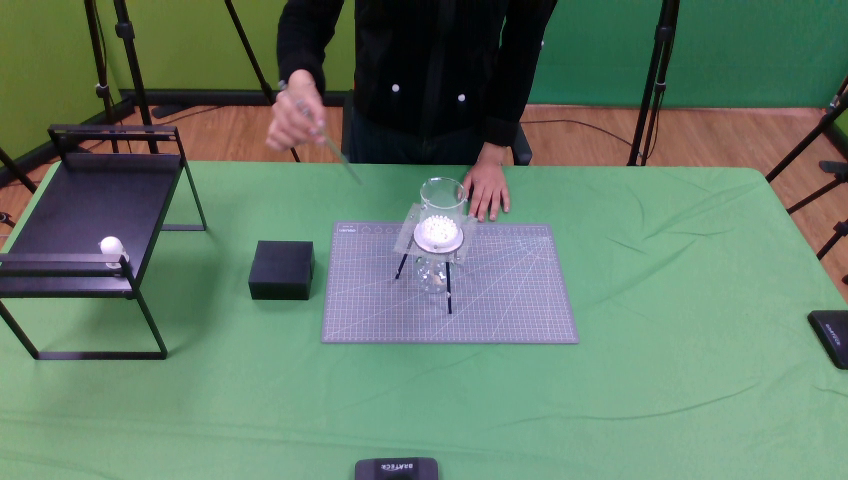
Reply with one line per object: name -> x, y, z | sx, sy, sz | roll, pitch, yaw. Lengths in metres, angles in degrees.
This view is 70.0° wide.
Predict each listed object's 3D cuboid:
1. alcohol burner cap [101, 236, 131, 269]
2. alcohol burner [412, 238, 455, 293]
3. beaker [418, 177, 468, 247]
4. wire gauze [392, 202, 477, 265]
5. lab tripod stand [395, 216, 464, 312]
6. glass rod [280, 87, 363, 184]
alcohol burner cap -> -0.452, 0.016, 0.883 | 0.034, 0.048, 0.033 | 2, 47, -1
alcohol burner -> 0.019, 0.040, 1.094 | 0.078, 0.119, 0.077 | 4, 45, -3
beaker -> 0.026, -0.045, 1.004 | 0.074, 0.101, 0.083 | -20, 51, -22
wire gauze -> 0.021, -0.011, 1.037 | 0.121, 0.011, 0.124 | 13, 49, 8
lab tripod stand -> 0.024, 0.037, 1.084 | 0.148, 0.132, 0.147 | 4, 46, -4
glass rod -> -0.146, -0.148, 0.889 | 0.008, 0.201, 0.008 | -21, 44, 21
